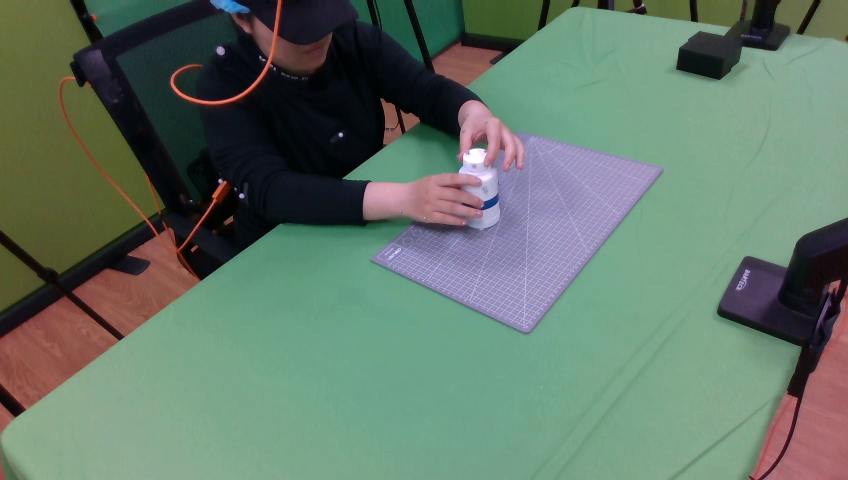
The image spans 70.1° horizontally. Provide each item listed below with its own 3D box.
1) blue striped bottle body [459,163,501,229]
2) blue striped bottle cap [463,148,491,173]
[{"bbox_3d":[0.091,-0.083,0.983,0.063,0.121,0.063,-6,40,5],"label":"blue striped bottle body"},{"bbox_3d":[0.083,-0.125,0.947,0.044,0.021,0.044,-5,38,5],"label":"blue striped bottle cap"}]
